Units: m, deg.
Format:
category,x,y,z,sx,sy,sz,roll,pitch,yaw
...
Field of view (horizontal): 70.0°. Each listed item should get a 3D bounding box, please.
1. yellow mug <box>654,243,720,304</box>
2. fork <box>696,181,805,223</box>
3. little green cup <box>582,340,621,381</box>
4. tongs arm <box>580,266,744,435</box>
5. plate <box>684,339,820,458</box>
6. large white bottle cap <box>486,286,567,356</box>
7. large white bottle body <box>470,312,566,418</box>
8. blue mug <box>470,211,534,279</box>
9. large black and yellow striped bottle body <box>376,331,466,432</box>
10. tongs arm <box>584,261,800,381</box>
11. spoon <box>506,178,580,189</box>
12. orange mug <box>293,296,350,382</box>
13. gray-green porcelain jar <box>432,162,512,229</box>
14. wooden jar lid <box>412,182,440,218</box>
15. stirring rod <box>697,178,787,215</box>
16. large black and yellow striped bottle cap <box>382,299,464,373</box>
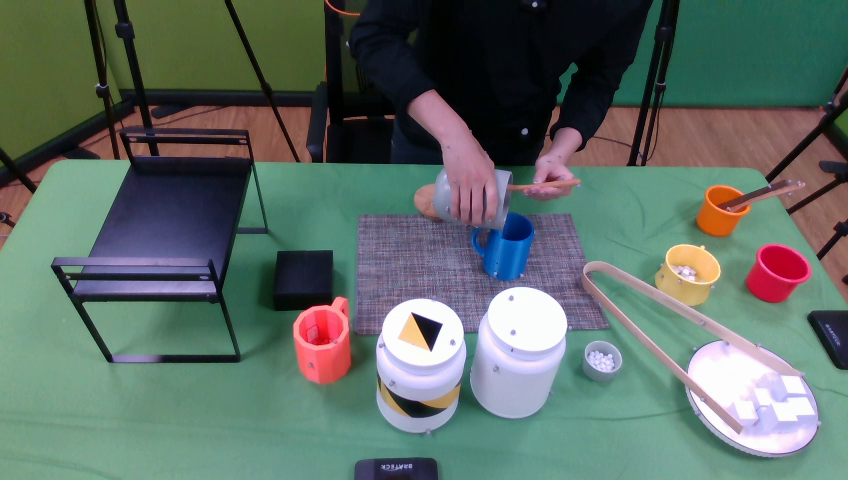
category,x,y,z,sx,sy,sz,roll,pitch,yaw
yellow mug,0.504,0.054,1.154,0.099,0.064,0.130,28,50,22
fork,0.659,-0.077,1.232,0.207,0.019,0.028,-26,35,34
little green cup,0.295,0.204,1.015,0.061,0.039,0.061,2,45,-2
tongs arm,0.384,0.173,1.028,0.028,0.028,0.385,-25,46,-15
plate,0.523,0.256,0.982,0.208,0.039,0.206,2,46,-2
large white bottle cap,0.147,0.114,0.869,0.115,0.018,0.114,3,46,-3
large white bottle body,0.143,0.174,0.930,0.131,0.185,0.130,2,46,-2
blue mug,0.141,0.005,1.140,0.116,0.106,0.082,18,48,13
large black and yellow striped bottle body,-0.007,0.189,0.905,0.131,0.185,0.130,2,46,-2
tongs arm,0.452,0.137,1.064,0.051,0.027,0.382,-34,50,-27
spoon,0.171,-0.096,1.056,0.193,0.022,0.041,-1,49,12
orange mug,-0.158,0.154,0.985,0.083,0.101,0.125,17,52,11
gray-green porcelain jar,0.084,-0.080,1.072,0.126,0.106,0.105,10,46,13
wooden jar lid,0.029,-0.083,1.276,0.108,0.021,0.107,3,43,-3
stirring rod,0.650,-0.088,1.245,0.006,0.176,0.014,29,49,-39
large black and yellow striped bottle cap,-0.002,0.132,0.843,0.115,0.019,0.114,2,46,-2
